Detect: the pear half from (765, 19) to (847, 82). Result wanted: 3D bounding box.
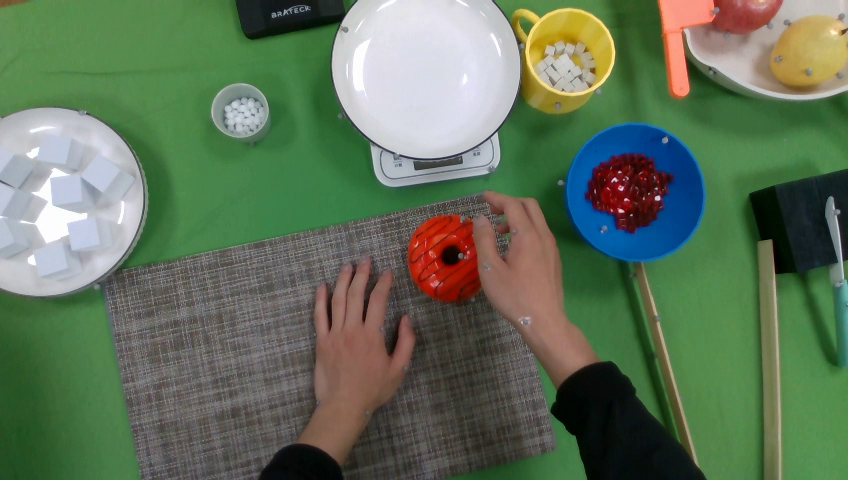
[{"bbox_3d":[0.438,-0.215,0.687,0.076,0.110,0.056,23,84,3],"label":"pear half"}]

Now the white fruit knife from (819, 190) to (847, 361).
[{"bbox_3d":[0.465,0.045,0.686,0.016,0.027,0.208,-15,101,-4],"label":"white fruit knife"}]

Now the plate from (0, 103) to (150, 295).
[{"bbox_3d":[-0.402,-0.043,0.658,0.208,0.039,0.207,0,85,-4],"label":"plate"}]

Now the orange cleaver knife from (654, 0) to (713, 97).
[{"bbox_3d":[0.280,-0.265,0.670,0.077,0.012,0.211,-8,86,-2],"label":"orange cleaver knife"}]

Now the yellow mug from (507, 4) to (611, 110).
[{"bbox_3d":[0.144,-0.218,0.694,0.131,0.064,0.100,44,85,2],"label":"yellow mug"}]

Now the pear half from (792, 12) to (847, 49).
[{"bbox_3d":[0.455,-0.244,0.700,0.070,0.088,0.031,18,84,4],"label":"pear half"}]

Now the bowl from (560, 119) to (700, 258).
[{"bbox_3d":[0.219,-0.052,0.680,0.151,0.077,0.151,0,86,-4],"label":"bowl"}]

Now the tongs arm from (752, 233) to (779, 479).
[{"bbox_3d":[0.388,0.184,0.697,0.028,0.028,0.386,3,85,-11],"label":"tongs arm"}]

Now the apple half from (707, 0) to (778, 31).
[{"bbox_3d":[0.361,-0.275,0.705,0.081,0.074,0.053,29,87,-3],"label":"apple half"}]

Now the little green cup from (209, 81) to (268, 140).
[{"bbox_3d":[-0.205,-0.142,0.679,0.061,0.038,0.061,0,85,-3],"label":"little green cup"}]

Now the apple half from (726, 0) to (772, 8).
[{"bbox_3d":[0.378,-0.309,0.708,0.081,0.081,0.033,28,87,0],"label":"apple half"}]

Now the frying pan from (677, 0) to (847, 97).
[{"bbox_3d":[0.475,-0.225,0.697,0.307,0.103,0.486,-40,80,-5],"label":"frying pan"}]

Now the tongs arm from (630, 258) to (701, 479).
[{"bbox_3d":[0.303,0.195,0.686,0.051,0.026,0.384,-12,87,-9],"label":"tongs arm"}]

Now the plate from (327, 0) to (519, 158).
[{"bbox_3d":[0.000,-0.190,0.667,0.209,0.038,0.208,0,85,-4],"label":"plate"}]

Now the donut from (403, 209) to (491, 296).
[{"bbox_3d":[0.025,0.014,0.674,0.099,0.048,0.099,0,87,-1],"label":"donut"}]

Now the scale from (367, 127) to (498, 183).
[{"bbox_3d":[0.001,-0.172,0.699,0.149,0.031,0.200,-8,86,-4],"label":"scale"}]
